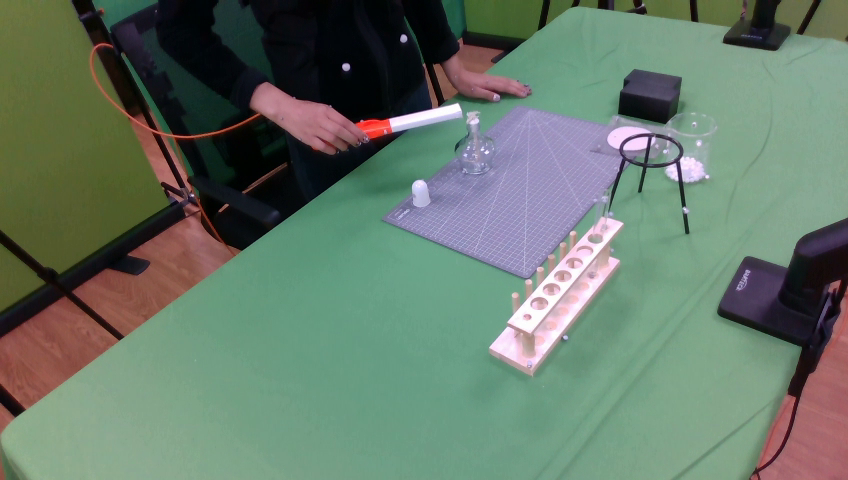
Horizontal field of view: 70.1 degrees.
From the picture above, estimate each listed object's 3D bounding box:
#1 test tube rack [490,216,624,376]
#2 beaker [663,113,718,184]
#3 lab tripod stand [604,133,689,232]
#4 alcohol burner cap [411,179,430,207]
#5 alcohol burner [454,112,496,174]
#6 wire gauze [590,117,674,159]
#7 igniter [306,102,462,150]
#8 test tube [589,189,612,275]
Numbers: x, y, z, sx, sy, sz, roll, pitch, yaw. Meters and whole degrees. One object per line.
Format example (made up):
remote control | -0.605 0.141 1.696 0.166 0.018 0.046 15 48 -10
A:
test tube rack | 0.184 0.064 0.822 0.066 0.085 0.243 24 50 33
beaker | 0.442 -0.151 1.018 0.084 0.101 0.074 -1 40 11
lab tripod stand | 0.347 -0.086 0.932 0.148 0.132 0.147 -4 40 4
alcohol burner cap | -0.008 -0.085 1.063 0.034 0.048 0.033 -4 40 4
alcohol burner | 0.092 -0.181 1.102 0.078 0.119 0.077 -5 42 5
wire gauze | 0.393 -0.192 1.139 0.120 0.011 0.125 19 47 28
igniter | -0.071 -0.200 1.061 0.277 0.025 0.057 -13 40 -3
test tube | 0.238 -0.007 0.818 0.017 0.151 0.017 -3 43 4
